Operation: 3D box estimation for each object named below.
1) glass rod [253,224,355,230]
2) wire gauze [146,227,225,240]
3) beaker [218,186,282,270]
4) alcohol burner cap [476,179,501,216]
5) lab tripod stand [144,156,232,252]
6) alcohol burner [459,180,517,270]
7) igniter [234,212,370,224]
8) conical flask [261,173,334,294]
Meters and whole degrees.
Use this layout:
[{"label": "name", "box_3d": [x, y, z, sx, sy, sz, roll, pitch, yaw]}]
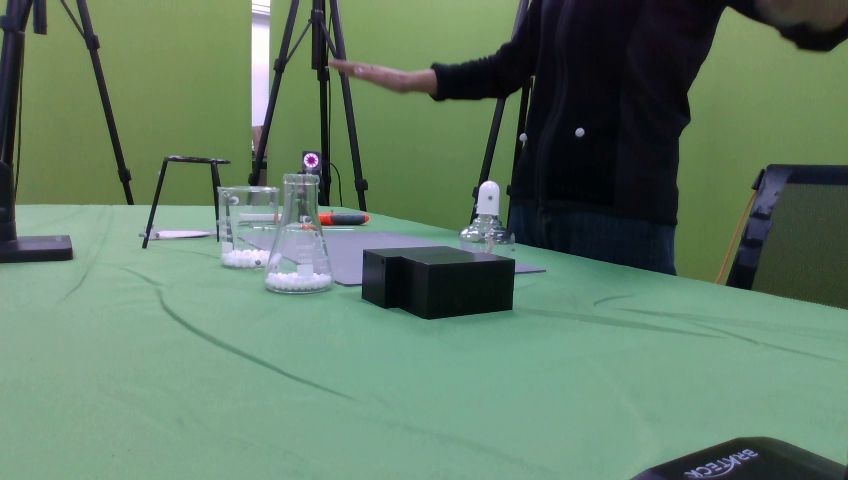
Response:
[{"label": "glass rod", "box_3d": [-0.226, -0.024, 1.162, 0.201, 0.008, 0.008, 1, 6, -29]}, {"label": "wire gauze", "box_3d": [-0.400, -0.012, 1.019, 0.122, 0.011, 0.124, -1, 6, -26]}, {"label": "beaker", "box_3d": [-0.222, -0.017, 0.758, 0.084, 0.100, 0.074, 4, 7, 19]}, {"label": "alcohol burner cap", "box_3d": [0.086, -0.056, 0.801, 0.034, 0.048, 0.034, 4, 2, 0]}, {"label": "lab tripod stand", "box_3d": [-0.325, -0.054, 0.881, 0.148, 0.131, 0.148, 4, 7, 0]}, {"label": "alcohol burner", "box_3d": [0.086, -0.021, 0.805, 0.078, 0.119, 0.078, 3, 9, 0]}, {"label": "igniter", "box_3d": [-0.247, -0.046, 1.253, 0.278, 0.025, 0.057, -1, -2, -27]}, {"label": "conical flask", "box_3d": [-0.131, -0.009, 0.633, 0.075, 0.122, 0.075, 2, 8, 0]}]
